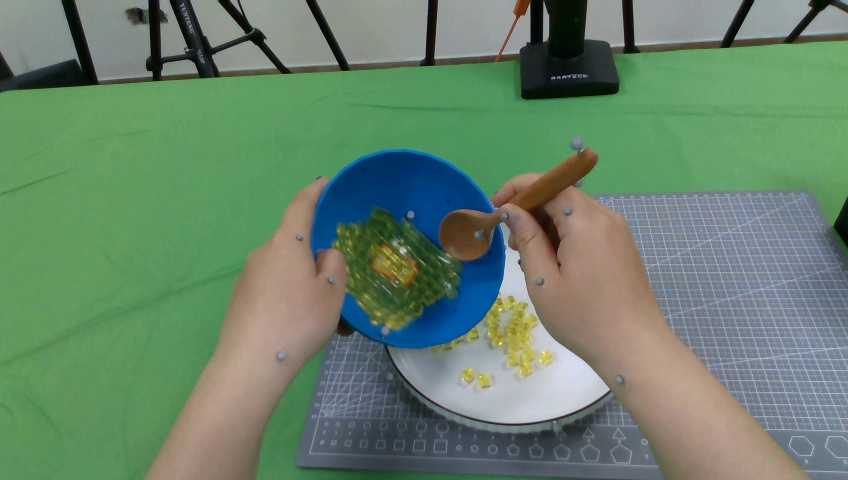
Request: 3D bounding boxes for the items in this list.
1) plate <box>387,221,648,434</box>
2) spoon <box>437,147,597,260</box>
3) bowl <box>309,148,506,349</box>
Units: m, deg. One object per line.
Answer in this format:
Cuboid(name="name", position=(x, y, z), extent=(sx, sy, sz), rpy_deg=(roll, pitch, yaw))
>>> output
Cuboid(name="plate", position=(0.072, 0.067, 0.497), extent=(0.207, 0.039, 0.205), rpy_deg=(-4, 44, 5))
Cuboid(name="spoon", position=(0.051, -0.017, 0.385), extent=(0.021, 0.193, 0.041), rpy_deg=(-40, 93, -20))
Cuboid(name="bowl", position=(-0.020, 0.013, 0.471), extent=(0.152, 0.077, 0.150), rpy_deg=(6, 74, -20))
